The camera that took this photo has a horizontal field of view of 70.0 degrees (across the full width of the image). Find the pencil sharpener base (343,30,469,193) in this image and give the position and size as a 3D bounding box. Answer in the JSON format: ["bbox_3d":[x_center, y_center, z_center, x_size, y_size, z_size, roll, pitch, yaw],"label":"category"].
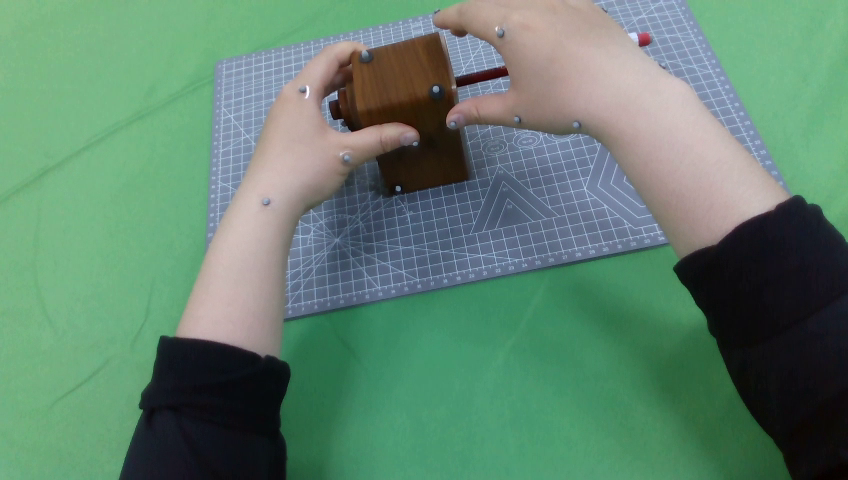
[{"bbox_3d":[-0.012,-0.093,0.463,0.076,0.108,0.061,-13,59,4],"label":"pencil sharpener base"}]

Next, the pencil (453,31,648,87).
[{"bbox_3d":[0.063,-0.123,0.434,0.194,0.012,0.012,-12,59,4],"label":"pencil"}]

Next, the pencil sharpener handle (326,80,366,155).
[{"bbox_3d":[-0.064,-0.088,0.456,0.030,0.068,0.035,-13,61,4],"label":"pencil sharpener handle"}]
